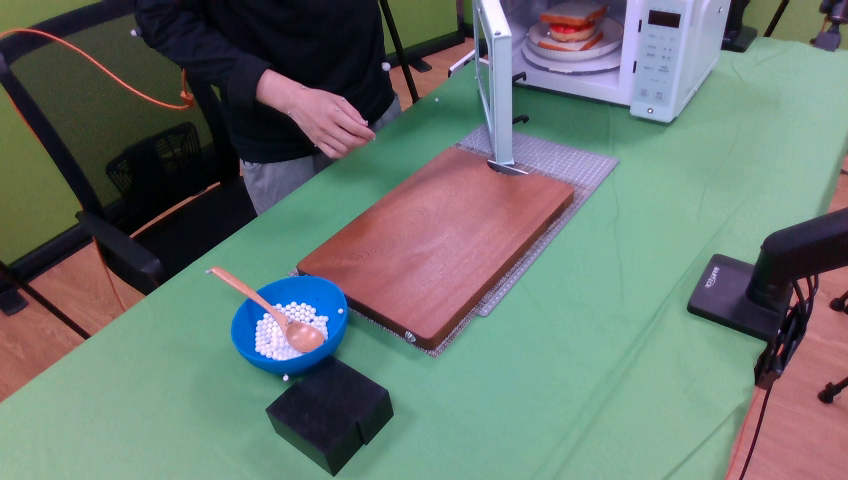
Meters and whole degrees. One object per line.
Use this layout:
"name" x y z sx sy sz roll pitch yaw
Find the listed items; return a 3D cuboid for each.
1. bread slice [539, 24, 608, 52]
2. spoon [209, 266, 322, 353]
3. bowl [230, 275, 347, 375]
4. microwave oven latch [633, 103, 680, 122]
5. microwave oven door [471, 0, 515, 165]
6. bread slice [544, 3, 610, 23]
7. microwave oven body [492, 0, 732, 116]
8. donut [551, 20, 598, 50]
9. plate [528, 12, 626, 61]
"bread slice" 0.336 -0.450 1.335 0.132 0.019 0.104 -24 43 -19
"spoon" -0.214 0.088 0.806 0.193 0.021 0.042 37 55 11
"bowl" -0.171 0.125 0.802 0.151 0.077 0.150 -4 40 4
"microwave oven latch" 0.443 -0.249 1.157 0.078 0.029 0.030 21 48 30
"microwave oven door" 0.127 -0.340 1.153 0.039 0.245 0.354 -6 40 2
"bread slice" 0.329 -0.482 1.279 0.106 0.018 0.135 21 37 31
"microwave oven body" 0.377 -0.462 1.267 0.438 0.261 0.327 21 48 30
"donut" 0.322 -0.442 1.295 0.099 0.048 0.098 -2 45 3
"plate" 0.334 -0.447 1.330 0.207 0.039 0.206 -6 43 6
